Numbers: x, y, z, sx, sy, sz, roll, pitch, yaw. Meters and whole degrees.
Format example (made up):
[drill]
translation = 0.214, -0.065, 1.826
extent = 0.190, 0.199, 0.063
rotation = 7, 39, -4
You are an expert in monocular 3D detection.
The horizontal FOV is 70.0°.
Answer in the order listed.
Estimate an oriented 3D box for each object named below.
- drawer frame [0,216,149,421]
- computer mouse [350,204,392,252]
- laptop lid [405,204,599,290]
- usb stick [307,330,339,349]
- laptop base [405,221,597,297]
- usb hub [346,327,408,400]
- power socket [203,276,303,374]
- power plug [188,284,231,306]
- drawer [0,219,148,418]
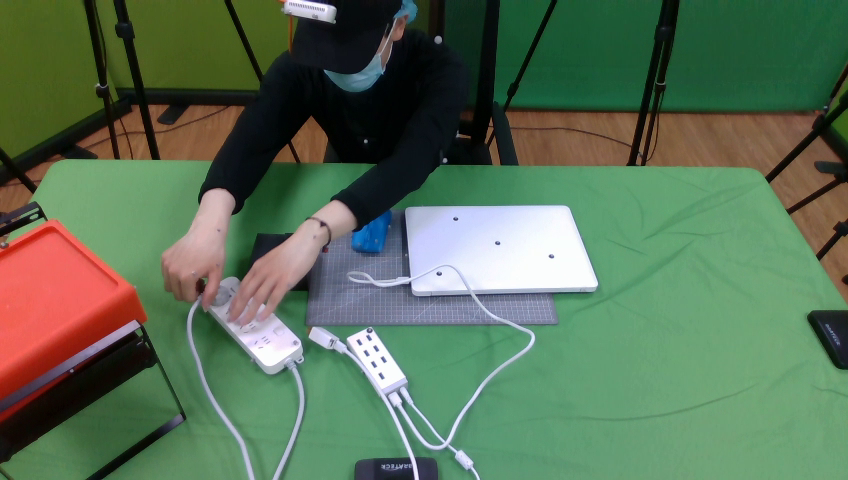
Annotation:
[drawer frame]
translation = -0.510, 0.093, 0.780
extent = 0.201, 0.083, 0.213
rotation = 31, 52, 23
[computer mouse]
translation = -0.104, -0.027, 1.202
extent = 0.063, 0.041, 0.116
rotation = 11, 51, 3
[laptop lid]
translation = 0.144, 0.008, 1.189
extent = 0.357, 0.013, 0.240
rotation = 0, 44, -5
[usb stick]
translation = -0.175, 0.166, 1.021
extent = 0.059, 0.027, 0.021
rotation = 12, 89, 22
[laptop base]
translation = 0.143, 0.018, 1.196
extent = 0.355, 0.023, 0.234
rotation = -1, 43, -6
[usb hub]
translation = -0.078, 0.202, 0.998
extent = 0.049, 0.025, 0.124
rotation = -23, 53, -24
[power socket]
translation = -0.296, 0.141, 1.034
extent = 0.072, 0.033, 0.225
rotation = -34, 58, -30
[power plug]
translation = -0.368, 0.100, 1.038
extent = 0.072, 0.053, 0.035
rotation = -22, 52, -25
[drawer]
translation = -0.509, 0.092, 0.783
extent = 0.193, 0.073, 0.211
rotation = 32, 53, 24
